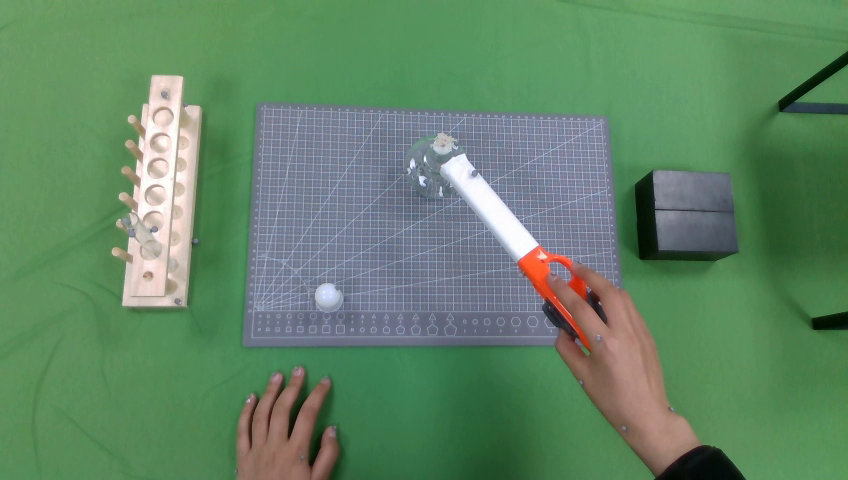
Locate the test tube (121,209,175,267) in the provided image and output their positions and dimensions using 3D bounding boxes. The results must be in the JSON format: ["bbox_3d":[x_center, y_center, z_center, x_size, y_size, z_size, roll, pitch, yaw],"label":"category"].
[{"bbox_3d":[-0.274,0.001,0.609,0.017,0.151,0.017,3,72,-9],"label":"test tube"}]

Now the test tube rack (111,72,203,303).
[{"bbox_3d":[-0.299,-0.056,0.670,0.067,0.085,0.241,1,77,-6],"label":"test tube rack"}]

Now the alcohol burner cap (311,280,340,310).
[{"bbox_3d":[-0.112,0.060,0.684,0.034,0.048,0.033,2,76,-7],"label":"alcohol burner cap"}]

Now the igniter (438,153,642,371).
[{"bbox_3d":[0.111,0.021,0.605,0.057,0.025,0.275,-35,77,-16],"label":"igniter"}]

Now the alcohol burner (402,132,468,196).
[{"bbox_3d":[0.014,-0.094,0.697,0.078,0.119,0.077,1,77,-4],"label":"alcohol burner"}]
